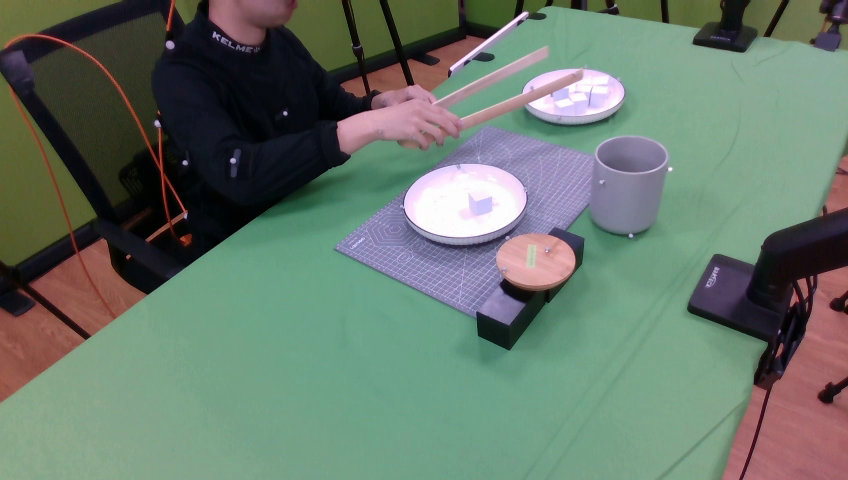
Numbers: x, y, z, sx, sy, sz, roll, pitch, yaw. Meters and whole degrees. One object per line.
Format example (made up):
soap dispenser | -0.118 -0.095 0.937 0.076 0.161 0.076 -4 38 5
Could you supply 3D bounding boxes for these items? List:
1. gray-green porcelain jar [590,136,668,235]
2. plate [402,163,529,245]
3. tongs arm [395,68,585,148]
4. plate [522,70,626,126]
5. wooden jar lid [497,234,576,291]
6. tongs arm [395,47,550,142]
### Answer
gray-green porcelain jar | 0.314 -0.080 0.937 0.106 0.127 0.105 -4 41 4
plate | 0.069 -0.056 1.008 0.209 0.038 0.208 -4 40 4
tongs arm | 0.129 -0.252 1.129 0.386 0.026 0.050 -26 50 -14
plate | 0.308 -0.290 1.251 0.207 0.039 0.206 -4 40 4
wooden jar lid | 0.155 0.032 0.834 0.108 0.021 0.108 -5 40 5
tongs arm | 0.100 -0.288 1.167 0.389 0.028 0.028 -31 55 -19
